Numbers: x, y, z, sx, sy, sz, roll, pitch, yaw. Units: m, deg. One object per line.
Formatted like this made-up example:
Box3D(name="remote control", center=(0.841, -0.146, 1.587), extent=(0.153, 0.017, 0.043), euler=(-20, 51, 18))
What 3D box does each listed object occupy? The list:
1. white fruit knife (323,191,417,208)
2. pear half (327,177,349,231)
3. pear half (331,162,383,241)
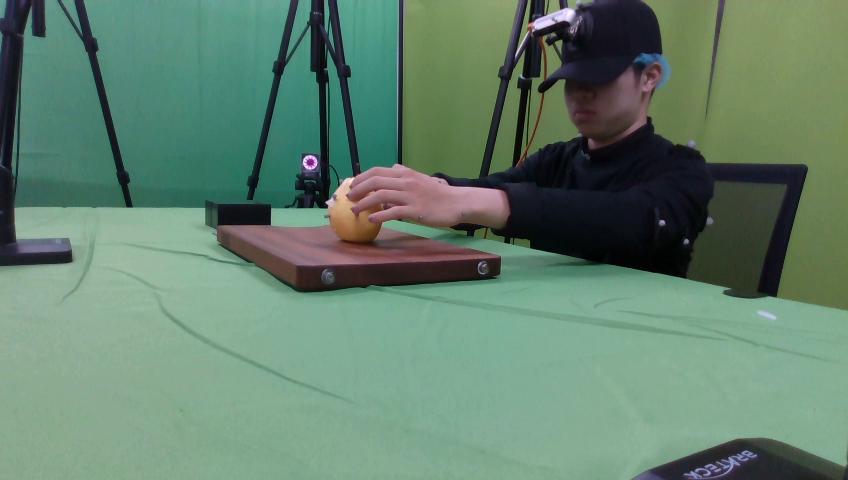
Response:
Box3D(name="white fruit knife", center=(-0.075, -0.059, 0.895), extent=(0.016, 0.027, 0.208), euler=(9, 10, 34))
Box3D(name="pear half", center=(-0.116, -0.046, 0.863), extent=(0.031, 0.088, 0.071), euler=(3, 10, 31))
Box3D(name="pear half", center=(-0.086, -0.052, 0.839), extent=(0.055, 0.110, 0.077), euler=(7, 12, 31))
